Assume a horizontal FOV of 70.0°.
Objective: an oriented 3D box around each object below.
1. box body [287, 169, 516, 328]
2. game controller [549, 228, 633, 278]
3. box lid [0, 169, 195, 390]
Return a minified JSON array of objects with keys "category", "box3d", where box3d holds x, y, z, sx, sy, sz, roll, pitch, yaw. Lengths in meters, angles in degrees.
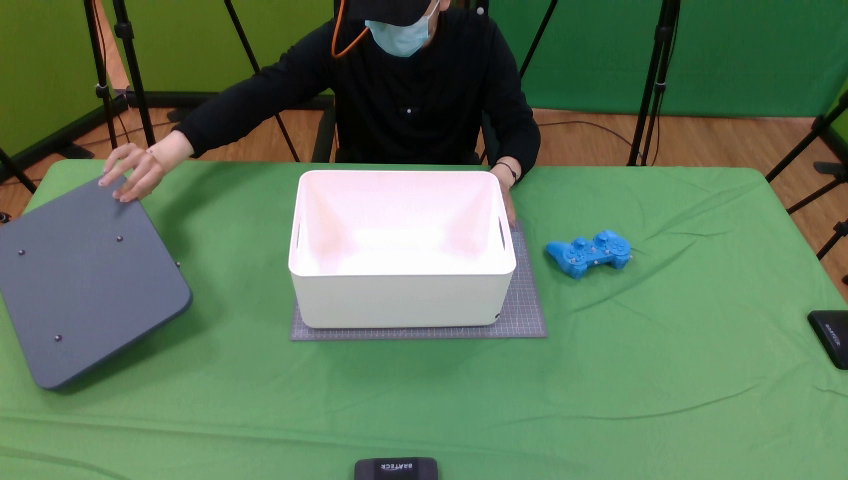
[{"category":"box body","box3d":[-0.040,0.015,1.075,0.364,0.161,0.252,-1,47,-4]},{"category":"game controller","box3d":[0.332,0.016,1.182,0.155,0.052,0.096,-12,52,-13]},{"category":"box lid","box3d":[-0.570,0.049,1.026,0.263,0.015,0.369,-34,61,-15]}]
